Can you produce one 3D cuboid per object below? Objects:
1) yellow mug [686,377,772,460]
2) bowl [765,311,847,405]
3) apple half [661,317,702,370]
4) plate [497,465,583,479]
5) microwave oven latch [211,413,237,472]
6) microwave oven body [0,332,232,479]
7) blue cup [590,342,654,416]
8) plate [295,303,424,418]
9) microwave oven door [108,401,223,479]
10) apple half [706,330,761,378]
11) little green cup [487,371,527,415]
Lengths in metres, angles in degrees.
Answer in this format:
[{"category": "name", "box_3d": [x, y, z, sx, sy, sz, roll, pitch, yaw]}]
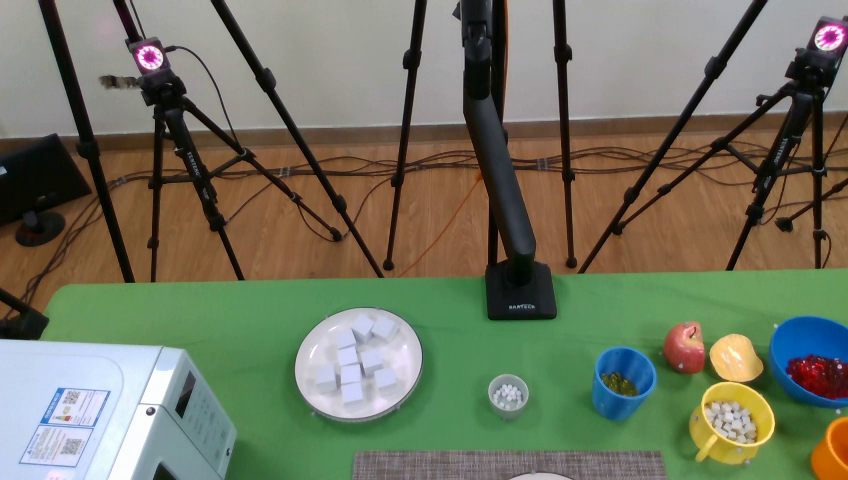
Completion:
[{"category": "yellow mug", "box_3d": [0.430, 0.267, 0.876, 0.131, 0.064, 0.099, -35, 56, -23]}, {"category": "bowl", "box_3d": [0.592, 0.192, 0.925, 0.151, 0.077, 0.150, -2, 50, 3]}, {"category": "apple half", "box_3d": [0.405, 0.165, 0.963, 0.053, 0.075, 0.080, 0, 53, 10]}, {"category": "plate", "box_3d": [0.157, 0.403, 0.788, 0.209, 0.038, 0.207, -2, 49, 2]}, {"category": "microwave oven latch", "box_3d": [-0.299, 0.296, 0.888, 0.030, 0.030, 0.078, 4, 50, 6]}, {"category": "microwave oven body", "box_3d": [-0.465, 0.361, 0.712, 0.326, 0.262, 0.437, 2, 50, 4]}, {"category": "blue cup", "box_3d": [0.288, 0.215, 0.907, 0.092, 0.101, 0.091, -1, 51, 2]}, {"category": "plate", "box_3d": [-0.103, 0.197, 0.987, 0.207, 0.039, 0.205, -2, 49, 2]}, {"category": "microwave oven door", "box_3d": [-0.323, 0.393, 0.669, 0.039, 0.246, 0.352, 1, 49, 5]}, {"category": "apple half", "box_3d": [0.488, 0.186, 0.966, 0.081, 0.033, 0.080, -5, 63, 9]}, {"category": "little green cup", "box_3d": [0.128, 0.239, 0.938, 0.061, 0.039, 0.061, -2, 48, 2]}]
